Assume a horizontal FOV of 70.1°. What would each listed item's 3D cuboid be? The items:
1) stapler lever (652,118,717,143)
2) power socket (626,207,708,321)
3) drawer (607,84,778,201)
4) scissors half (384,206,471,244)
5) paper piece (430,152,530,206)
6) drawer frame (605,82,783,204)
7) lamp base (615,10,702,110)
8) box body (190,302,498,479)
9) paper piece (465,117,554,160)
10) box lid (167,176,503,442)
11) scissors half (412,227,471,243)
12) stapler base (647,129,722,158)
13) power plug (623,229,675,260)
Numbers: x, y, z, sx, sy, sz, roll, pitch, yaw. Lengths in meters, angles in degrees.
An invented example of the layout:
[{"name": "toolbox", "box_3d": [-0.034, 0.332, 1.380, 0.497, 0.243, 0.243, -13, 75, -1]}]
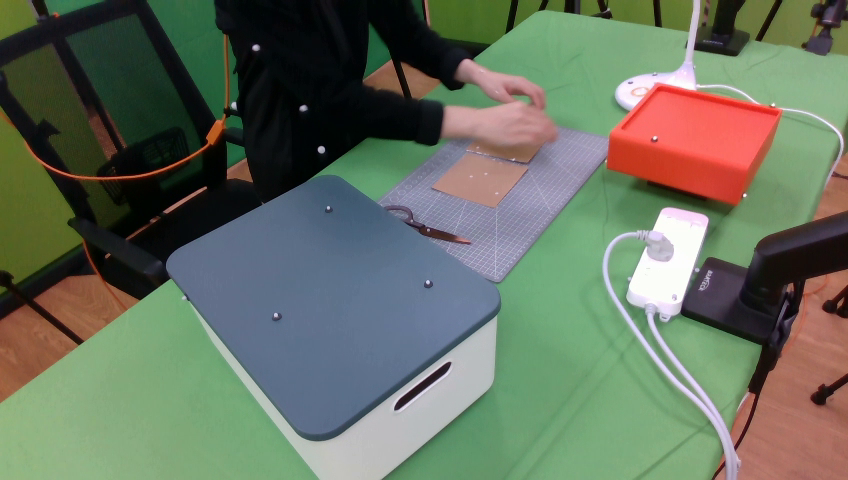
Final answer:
[{"name": "stapler lever", "box_3d": [0.436, -0.191, 1.014, 0.118, 0.040, 0.026, -16, 25, -16]}, {"name": "power socket", "box_3d": [0.360, 0.026, 0.886, 0.072, 0.033, 0.227, 16, 46, 26]}, {"name": "drawer", "box_3d": [0.438, -0.167, 0.996, 0.210, 0.073, 0.195, 23, 48, 30]}, {"name": "scissors half", "box_3d": [0.001, -0.024, 1.005, 0.174, 0.013, 0.040, 22, 57, 25]}, {"name": "paper piece", "box_3d": [0.103, -0.116, 1.104, 0.135, 0.004, 0.136, 20, 46, 28]}, {"name": "drawer frame", "box_3d": [0.441, -0.167, 0.995, 0.212, 0.083, 0.202, 23, 48, 29]}, {"name": "lamp base", "box_3d": [0.484, -0.364, 1.211, 0.180, 0.181, 0.159, -15, 41, -14]}, {"name": "box body", "box_3d": [-0.110, 0.103, 0.761, 0.255, 0.161, 0.361, -33, 46, -27]}, {"name": "paper piece", "box_3d": [0.170, -0.201, 1.195, 0.137, 0.009, 0.136, 17, 42, 27]}, {"name": "box lid", "box_3d": [-0.119, 0.047, 0.714, 0.264, 0.015, 0.368, -32, 47, -27]}, {"name": "scissors half", "box_3d": [-0.007, -0.010, 0.993, 0.174, 0.013, 0.040, 8, 47, 15]}, {"name": "stapler base", "box_3d": [0.439, -0.167, 1.023, 0.131, 0.024, 0.041, -16, 25, -15]}, {"name": "power plug", "box_3d": [0.327, 0.007, 0.878, 0.072, 0.053, 0.035, 25, 51, 33]}]
